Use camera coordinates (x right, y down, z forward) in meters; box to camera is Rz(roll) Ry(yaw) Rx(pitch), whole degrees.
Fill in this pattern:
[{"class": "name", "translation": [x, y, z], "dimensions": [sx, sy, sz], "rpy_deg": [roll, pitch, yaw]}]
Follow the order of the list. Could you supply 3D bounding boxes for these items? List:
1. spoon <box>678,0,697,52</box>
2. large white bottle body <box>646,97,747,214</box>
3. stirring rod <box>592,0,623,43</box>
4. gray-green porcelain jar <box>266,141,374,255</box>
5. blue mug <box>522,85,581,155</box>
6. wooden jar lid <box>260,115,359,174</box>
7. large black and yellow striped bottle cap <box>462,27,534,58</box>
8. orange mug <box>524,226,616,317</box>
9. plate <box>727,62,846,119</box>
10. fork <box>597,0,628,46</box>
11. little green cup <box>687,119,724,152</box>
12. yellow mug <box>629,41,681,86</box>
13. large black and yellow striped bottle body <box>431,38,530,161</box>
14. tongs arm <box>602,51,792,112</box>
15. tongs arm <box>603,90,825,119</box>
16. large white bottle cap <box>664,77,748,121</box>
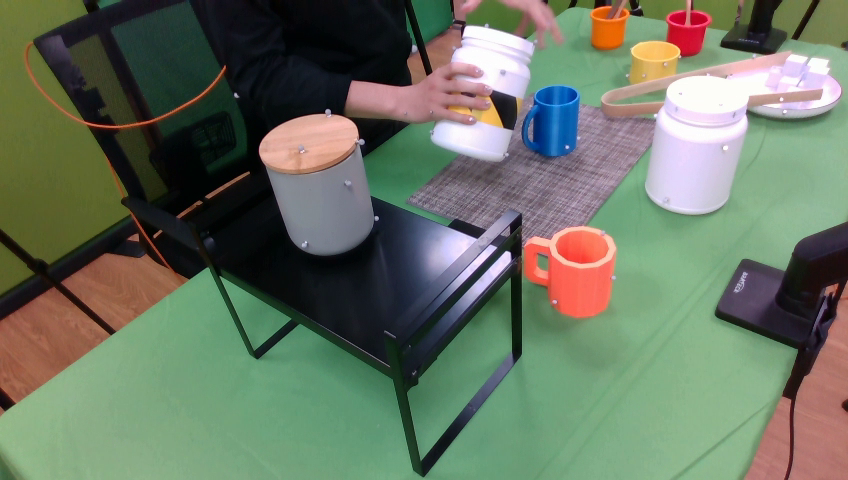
[{"class": "spoon", "translation": [0.614, -0.526, 1.402], "dimensions": [0.041, 0.022, 0.193], "rpy_deg": [3, 86, 11]}, {"class": "large white bottle body", "translation": [0.431, -0.148, 0.959], "dimensions": [0.130, 0.185, 0.130], "rpy_deg": [-4, 41, 4]}, {"class": "stirring rod", "translation": [0.460, -0.557, 1.461], "dimensions": [0.014, 0.176, 0.006], "rpy_deg": [35, 11, 22]}, {"class": "gray-green porcelain jar", "translation": [-0.117, -0.054, 0.703], "dimensions": [0.106, 0.127, 0.105], "rpy_deg": [-4, 40, 4]}, {"class": "blue mug", "translation": [0.233, -0.218, 1.127], "dimensions": [0.117, 0.106, 0.081], "rpy_deg": [-23, 43, -16]}, {"class": "wooden jar lid", "translation": [-0.124, -0.101, 0.662], "dimensions": [0.108, 0.021, 0.108], "rpy_deg": [-4, 41, 4]}, {"class": "large black and yellow striped bottle cap", "translation": [0.117, -0.312, 0.956], "dimensions": [0.115, 0.019, 0.115], "rpy_deg": [15, 12, -3]}, {"class": "orange mug", "translation": [0.201, 0.039, 0.845], "dimensions": [0.125, 0.101, 0.083], "rpy_deg": [18, 47, 21]}, {"class": "plate", "translation": [0.709, -0.292, 1.197], "dimensions": [0.207, 0.039, 0.206], "rpy_deg": [-4, 40, 4]}, {"class": "fork", "translation": [0.479, -0.558, 1.455], "dimensions": [0.028, 0.019, 0.207], "rpy_deg": [35, 100, 38]}, {"class": "little green cup", "translation": [0.513, -0.191, 1.109], "dimensions": [0.061, 0.039, 0.061], "rpy_deg": [-5, 40, 5]}, {"class": "yellow mug", "translation": [0.495, -0.389, 1.321], "dimensions": [0.100, 0.064, 0.130], "rpy_deg": [-14, 40, -7]}, {"class": "large black and yellow striped bottle body", "translation": [0.094, -0.232, 0.979], "dimensions": [0.131, 0.184, 0.130], "rpy_deg": [15, 15, -4]}, {"class": "tongs arm", "translation": [0.552, -0.320, 1.224], "dimensions": [0.384, 0.027, 0.050], "rpy_deg": [-11, 44, 7]}, {"class": "tongs arm", "translation": [0.546, -0.262, 1.163], "dimensions": [0.386, 0.028, 0.028], "rpy_deg": [-1, 49, 18]}, {"class": "large white bottle cap", "translation": [0.421, -0.212, 0.905], "dimensions": [0.115, 0.018, 0.114], "rpy_deg": [-4, 40, 4]}]
